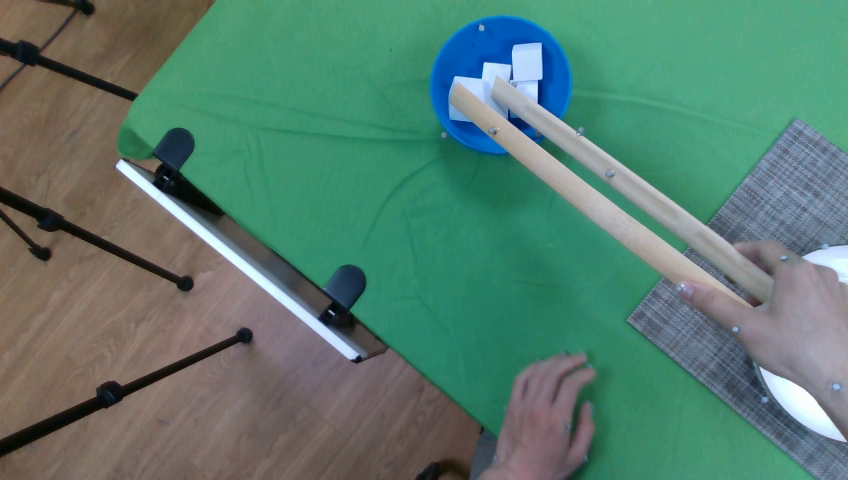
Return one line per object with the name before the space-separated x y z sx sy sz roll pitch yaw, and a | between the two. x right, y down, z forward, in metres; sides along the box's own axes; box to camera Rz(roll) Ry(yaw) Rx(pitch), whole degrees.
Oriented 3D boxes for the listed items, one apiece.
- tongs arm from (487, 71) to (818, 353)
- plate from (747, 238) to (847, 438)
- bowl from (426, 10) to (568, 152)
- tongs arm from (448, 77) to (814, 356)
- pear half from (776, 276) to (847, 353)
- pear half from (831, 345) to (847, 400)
tongs arm | 0.180 -0.046 0.554 0.381 0.051 0.027 43 134 25
plate | 0.447 0.102 0.641 0.207 0.039 0.207 0 85 5
bowl | 0.080 -0.165 0.676 0.151 0.077 0.151 0 85 5
tongs arm | 0.153 -0.036 0.532 0.384 0.028 0.028 44 131 26
pear half | 0.432 0.068 0.632 0.110 0.056 0.076 -39 87 -3
pear half | 0.477 0.138 0.631 0.088 0.031 0.070 -18 88 9
